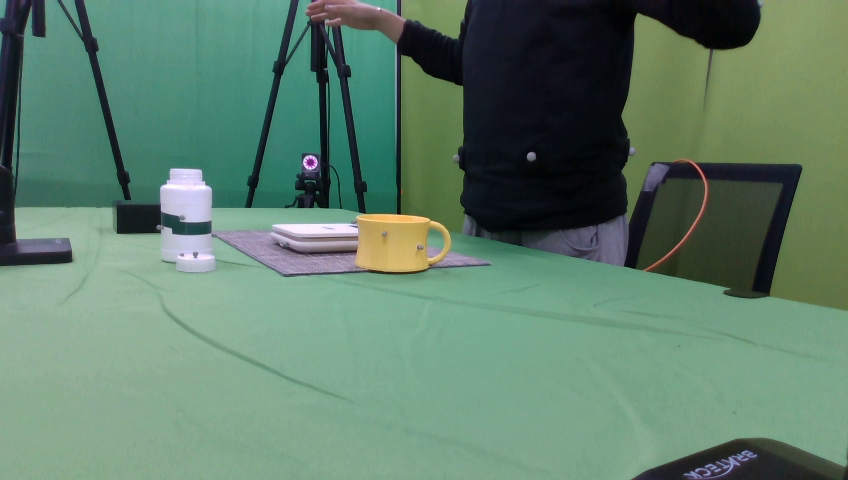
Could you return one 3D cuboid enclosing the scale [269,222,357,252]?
[{"bbox_3d":[-0.132,-0.007,0.965,0.202,0.031,0.148,-2,8,-31],"label":"scale"}]

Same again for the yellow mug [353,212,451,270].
[{"bbox_3d":[-0.027,0.000,0.807,0.131,0.064,0.099,2,8,-13],"label":"yellow mug"}]

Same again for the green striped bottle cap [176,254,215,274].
[{"bbox_3d":[-0.280,0.029,0.741,0.044,0.020,0.044,7,3,0],"label":"green striped bottle cap"}]

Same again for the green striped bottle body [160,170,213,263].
[{"bbox_3d":[-0.312,-0.033,0.797,0.063,0.119,0.063,2,7,0],"label":"green striped bottle body"}]
